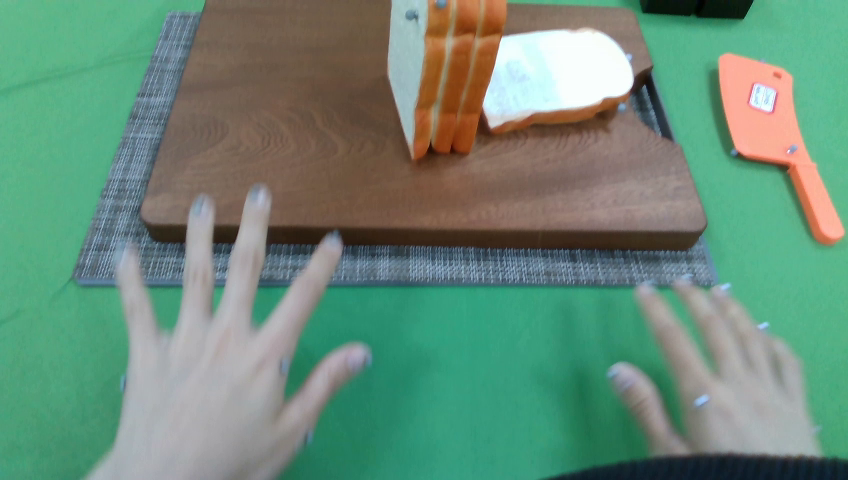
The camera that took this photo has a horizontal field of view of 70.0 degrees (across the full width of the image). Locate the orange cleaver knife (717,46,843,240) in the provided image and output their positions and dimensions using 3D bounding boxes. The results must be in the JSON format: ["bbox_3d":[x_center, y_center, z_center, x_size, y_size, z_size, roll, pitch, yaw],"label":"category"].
[{"bbox_3d":[0.299,-0.093,0.520,0.077,0.012,0.209,6,58,-3],"label":"orange cleaver knife"}]

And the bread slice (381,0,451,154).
[{"bbox_3d":[-0.008,-0.148,0.431,0.018,0.135,0.106,-6,50,-15],"label":"bread slice"}]
